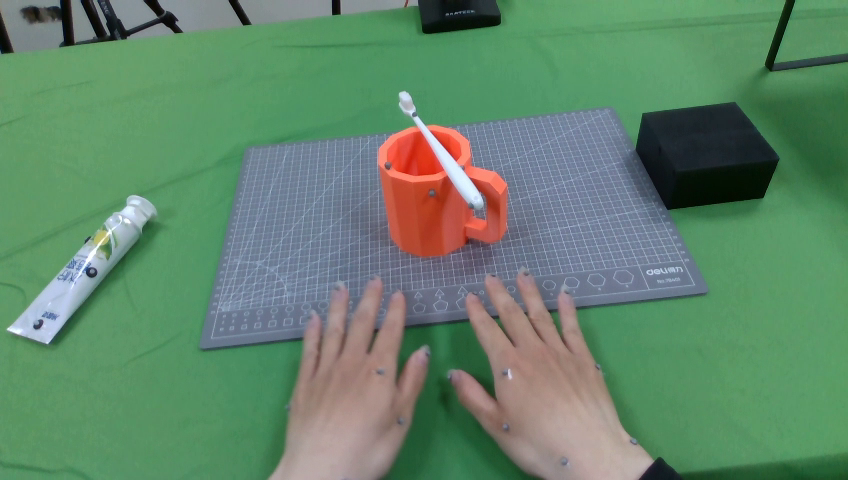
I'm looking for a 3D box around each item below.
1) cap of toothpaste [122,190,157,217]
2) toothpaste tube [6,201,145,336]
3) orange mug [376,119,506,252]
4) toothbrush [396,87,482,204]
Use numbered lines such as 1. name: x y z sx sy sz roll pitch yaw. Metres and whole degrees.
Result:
1. cap of toothpaste: -0.304 -0.038 0.646 0.037 0.038 0.011 5 45 11
2. toothpaste tube: -0.335 0.021 0.599 0.055 0.035 0.164 8 50 23
3. orange mug: 0.018 -0.048 0.575 0.125 0.102 0.083 15 49 25
4. toothbrush: 0.010 -0.090 0.543 0.014 0.017 0.179 -17 46 -14
